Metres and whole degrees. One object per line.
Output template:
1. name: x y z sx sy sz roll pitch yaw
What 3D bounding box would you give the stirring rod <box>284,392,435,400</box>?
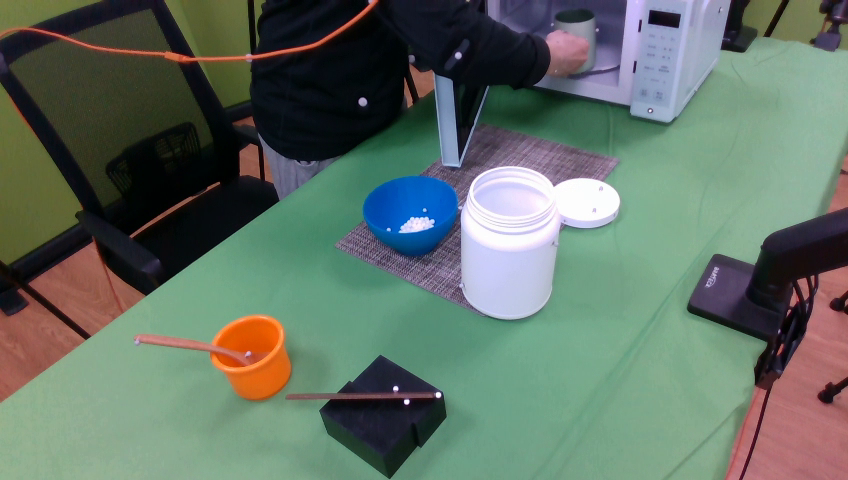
1. stirring rod: -0.075 0.180 0.698 0.176 0.006 0.014 -2 6 7

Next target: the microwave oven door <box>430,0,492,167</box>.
1. microwave oven door: 0.080 -0.340 1.159 0.039 0.245 0.355 4 42 15

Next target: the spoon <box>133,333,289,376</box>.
1. spoon: -0.257 0.137 0.747 0.021 0.195 0.041 -47 40 23

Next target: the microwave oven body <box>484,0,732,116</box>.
1. microwave oven body: 0.377 -0.463 1.267 0.438 0.261 0.327 21 49 30

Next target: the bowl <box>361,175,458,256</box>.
1. bowl: -0.019 -0.028 0.955 0.151 0.077 0.150 -4 40 4

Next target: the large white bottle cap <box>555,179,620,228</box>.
1. large white bottle cap: 0.265 -0.062 1.001 0.115 0.018 0.114 -4 41 4

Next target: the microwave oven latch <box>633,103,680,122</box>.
1. microwave oven latch: 0.443 -0.249 1.157 0.078 0.029 0.030 21 49 30

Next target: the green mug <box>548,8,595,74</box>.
1. green mug: 0.291 -0.386 1.201 0.092 0.105 0.125 13 48 20

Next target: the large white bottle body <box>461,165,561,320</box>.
1. large white bottle body: 0.115 0.004 0.816 0.130 0.185 0.130 -2 43 2
